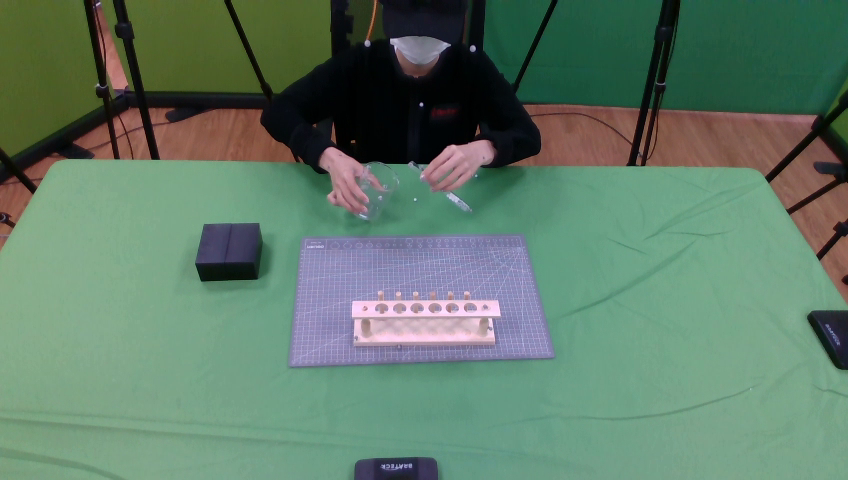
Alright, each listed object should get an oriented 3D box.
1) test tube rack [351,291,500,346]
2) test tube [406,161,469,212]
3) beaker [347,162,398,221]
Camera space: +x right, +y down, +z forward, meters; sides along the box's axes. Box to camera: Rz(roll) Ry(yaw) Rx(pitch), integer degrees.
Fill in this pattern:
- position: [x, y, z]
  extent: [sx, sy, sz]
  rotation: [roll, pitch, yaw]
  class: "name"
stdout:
- position: [0.001, 0.129, 1.026]
  extent: [0.242, 0.085, 0.066]
  rotation: [0, 46, -4]
  class: "test tube rack"
- position: [0.028, -0.099, 1.134]
  extent: [0.151, 0.017, 0.017]
  rotation: [36, 42, -21]
  class: "test tube"
- position: [-0.101, -0.093, 1.184]
  extent: [0.084, 0.100, 0.073]
  rotation: [-13, 61, -37]
  class: "beaker"
